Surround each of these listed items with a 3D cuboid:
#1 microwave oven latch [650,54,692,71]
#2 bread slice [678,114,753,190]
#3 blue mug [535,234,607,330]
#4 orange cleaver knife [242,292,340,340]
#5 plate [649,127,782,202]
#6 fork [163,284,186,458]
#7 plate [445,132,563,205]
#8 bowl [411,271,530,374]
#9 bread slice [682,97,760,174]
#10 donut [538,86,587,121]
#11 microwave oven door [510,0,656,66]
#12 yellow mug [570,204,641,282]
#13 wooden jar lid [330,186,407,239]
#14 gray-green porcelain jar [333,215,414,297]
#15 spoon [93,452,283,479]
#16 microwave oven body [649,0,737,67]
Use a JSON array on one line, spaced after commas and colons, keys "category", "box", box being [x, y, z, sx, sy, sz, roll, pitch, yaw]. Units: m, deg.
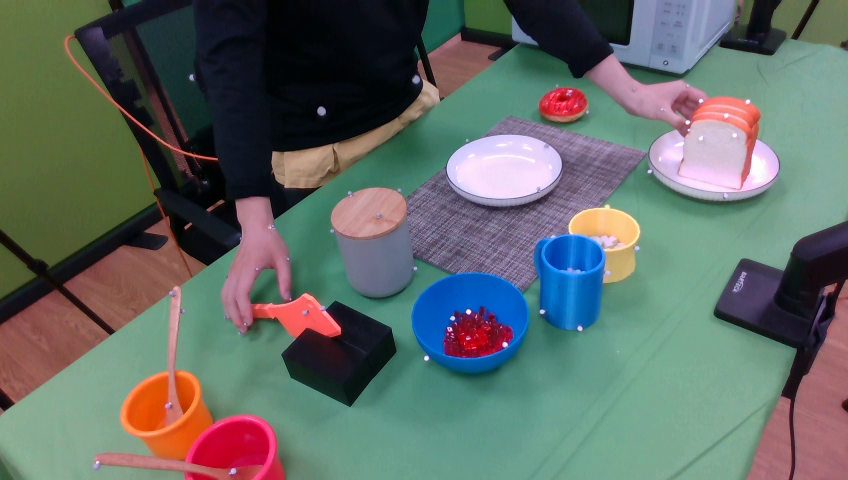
[{"category": "microwave oven latch", "box": [0.530, -0.386, 1.300, 0.078, 0.029, 0.030, 23, 50, 32]}, {"category": "bread slice", "box": [0.468, -0.144, 0.976, 0.104, 0.132, 0.019, 21, 55, 31]}, {"category": "blue mug", "box": [0.191, 0.048, 0.824, 0.082, 0.106, 0.115, -26, 44, -20]}, {"category": "orange cleaver knife", "box": [-0.185, 0.107, 0.827, 0.210, 0.077, 0.012, -9, 28, 48]}, {"category": "plate", "box": [0.493, -0.127, 1.036, 0.207, 0.039, 0.206, -4, 40, 4]}, {"category": "fork", "box": [-0.302, 0.157, 0.733, 0.028, 0.019, 0.207, -3, 84, 15]}, {"category": "plate", "box": [0.142, -0.123, 1.075, 0.209, 0.038, 0.208, -3, 41, 3]}, {"category": "bowl", "box": [0.062, 0.120, 0.780, 0.151, 0.077, 0.150, -4, 40, 4]}, {"category": "bread slice", "box": [0.497, -0.172, 1.003, 0.106, 0.135, 0.018, 23, 51, 25]}, {"category": "donut", "box": [0.283, -0.280, 1.239, 0.099, 0.048, 0.098, -5, 43, 5]}, {"category": "microwave oven door", "box": [0.350, -0.539, 1.348, 0.353, 0.245, 0.039, 24, 50, 31]}, {"category": "yellow mug", "box": [0.268, -0.005, 0.904, 0.099, 0.064, 0.130, 7, 41, 15]}, {"category": "wooden jar lid", "box": [-0.077, -0.035, 0.846, 0.108, 0.021, 0.108, -5, 41, 5]}, {"category": "gray-green porcelain jar", "box": [-0.071, 0.012, 0.887, 0.106, 0.127, 0.105, -4, 41, 4]}, {"category": "spoon", "box": [-0.240, 0.239, 0.632, 0.195, 0.021, 0.041, 26, 33, -32]}, {"category": "microwave oven body", "box": [0.475, -0.602, 1.411, 0.438, 0.261, 0.327, 23, 50, 32]}]
